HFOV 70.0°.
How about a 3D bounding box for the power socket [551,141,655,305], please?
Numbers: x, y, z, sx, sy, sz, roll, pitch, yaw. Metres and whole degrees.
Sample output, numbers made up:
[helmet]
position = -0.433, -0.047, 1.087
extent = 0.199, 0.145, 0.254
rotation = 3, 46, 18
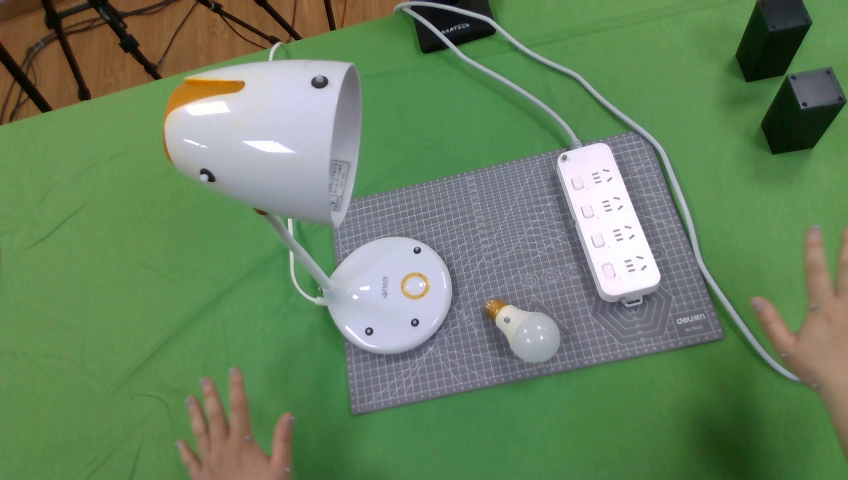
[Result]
[power socket]
position = 0.223, -0.028, 0.766
extent = 0.072, 0.033, 0.224
rotation = -15, 65, 4

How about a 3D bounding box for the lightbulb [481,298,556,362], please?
[lightbulb]
position = 0.109, 0.102, 0.723
extent = 0.059, 0.060, 0.106
rotation = -48, 51, -11

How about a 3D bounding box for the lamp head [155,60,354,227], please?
[lamp head]
position = -0.113, -0.068, 0.415
extent = 0.123, 0.113, 0.111
rotation = 4, 68, 5

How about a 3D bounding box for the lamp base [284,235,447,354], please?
[lamp base]
position = -0.076, 0.042, 0.712
extent = 0.179, 0.182, 0.159
rotation = -16, 65, 7
